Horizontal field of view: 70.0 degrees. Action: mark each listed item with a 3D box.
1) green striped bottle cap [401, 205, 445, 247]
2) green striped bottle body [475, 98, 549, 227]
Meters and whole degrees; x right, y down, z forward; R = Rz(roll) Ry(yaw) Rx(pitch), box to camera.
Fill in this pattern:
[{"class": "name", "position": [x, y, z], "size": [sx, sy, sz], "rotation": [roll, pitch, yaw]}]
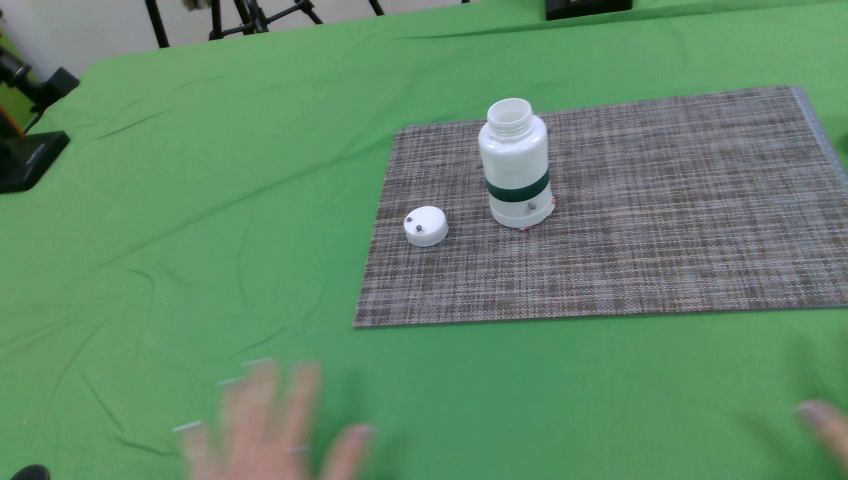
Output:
[{"class": "green striped bottle cap", "position": [-0.001, -0.015, 0.619], "size": [0.044, 0.020, 0.044], "rotation": [-6, 46, 7]}, {"class": "green striped bottle body", "position": [0.084, -0.074, 0.576], "size": [0.063, 0.120, 0.062], "rotation": [-8, 46, 9]}]
